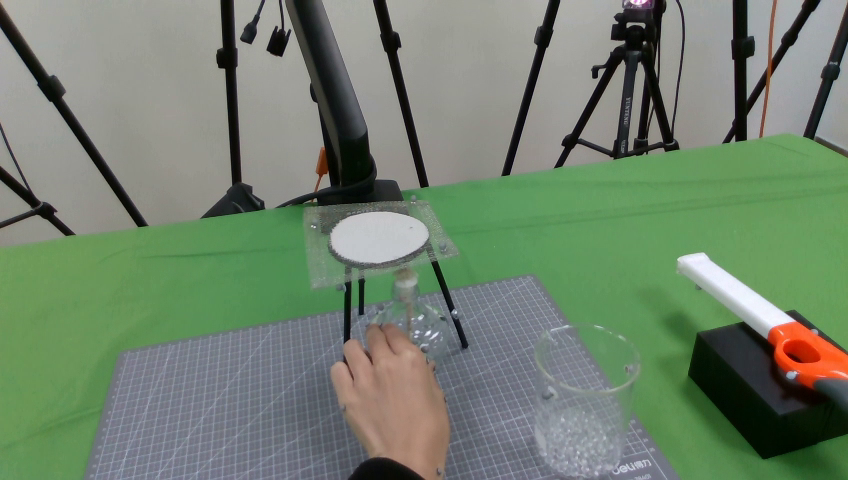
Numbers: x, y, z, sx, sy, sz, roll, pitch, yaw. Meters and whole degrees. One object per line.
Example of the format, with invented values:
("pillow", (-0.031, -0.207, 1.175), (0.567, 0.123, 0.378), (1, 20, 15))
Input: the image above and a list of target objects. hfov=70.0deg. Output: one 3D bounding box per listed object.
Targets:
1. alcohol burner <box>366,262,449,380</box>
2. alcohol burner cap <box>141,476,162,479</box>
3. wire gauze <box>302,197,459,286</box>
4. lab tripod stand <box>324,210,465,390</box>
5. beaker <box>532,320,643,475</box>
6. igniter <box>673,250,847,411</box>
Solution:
("alcohol burner", (-0.016, 0.068, 0.549), (0.078, 0.120, 0.077), (-1, 34, 1))
("alcohol burner cap", (-0.194, 0.191, 0.436), (0.034, 0.048, 0.033), (-2, 32, 2))
("wire gauze", (-0.043, -0.007, 0.525), (0.122, 0.011, 0.123), (-8, 32, -10))
("lab tripod stand", (-0.035, 0.048, 0.564), (0.148, 0.132, 0.147), (-1, 30, 1))
("beaker", (0.118, 0.121, 0.464), (0.074, 0.101, 0.083), (-19, 35, -24))
("igniter", (0.301, 0.080, 0.500), (0.057, 0.025, 0.273), (-11, 29, -11))
